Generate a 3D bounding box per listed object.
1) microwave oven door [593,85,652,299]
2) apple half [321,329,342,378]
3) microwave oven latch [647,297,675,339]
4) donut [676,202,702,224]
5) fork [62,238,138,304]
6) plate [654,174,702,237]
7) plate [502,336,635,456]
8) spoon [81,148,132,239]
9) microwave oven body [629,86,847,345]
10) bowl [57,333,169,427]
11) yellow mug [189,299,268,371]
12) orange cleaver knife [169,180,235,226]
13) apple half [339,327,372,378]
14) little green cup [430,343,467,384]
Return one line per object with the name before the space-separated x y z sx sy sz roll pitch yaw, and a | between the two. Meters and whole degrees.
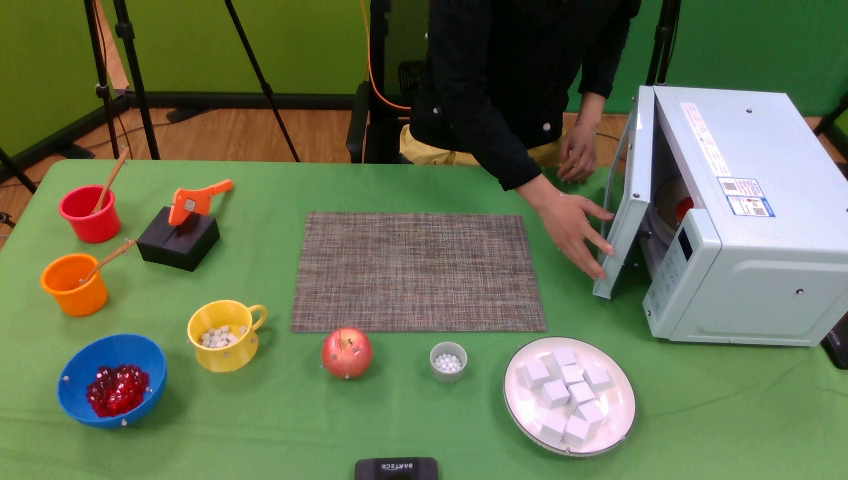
microwave oven door | 0.379 -0.100 1.144 0.039 0.245 0.354 14 47 9
apple half | -0.149 0.186 0.972 0.033 0.081 0.080 -2 46 -12
microwave oven latch | 0.413 0.134 1.061 0.030 0.029 0.078 5 45 2
donut | 0.538 -0.042 1.168 0.099 0.048 0.098 5 25 -2
fork | -0.547 0.053 1.018 0.207 0.019 0.028 -36 41 23
plate | 0.554 -0.048 1.185 0.209 0.038 0.208 1 47 -1
plate | 0.225 0.248 0.963 0.208 0.039 0.206 2 46 -2
spoon | -0.603 -0.089 1.156 0.041 0.022 0.193 28 95 18
microwave oven body | 0.568 -0.053 1.119 0.326 0.261 0.439 2 45 -1
bowl | -0.456 0.223 0.912 0.151 0.077 0.150 3 45 -2
yellow mug | -0.316 0.148 1.002 0.131 0.064 0.099 -33 56 -31
orange cleaver knife | -0.436 -0.076 1.199 0.012 0.077 0.211 17 17 9
apple half | -0.111 0.182 0.980 0.053 0.075 0.080 -2 42 -12
little green cup | 0.039 0.203 0.994 0.061 0.039 0.061 2 46 -2
